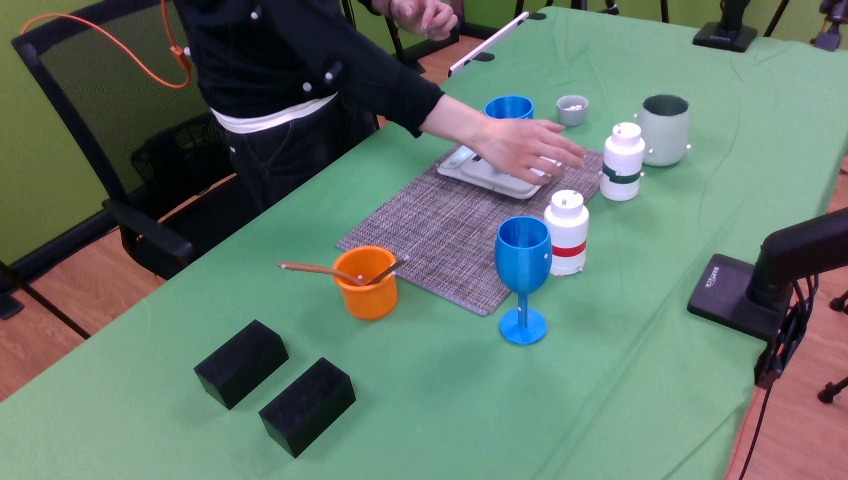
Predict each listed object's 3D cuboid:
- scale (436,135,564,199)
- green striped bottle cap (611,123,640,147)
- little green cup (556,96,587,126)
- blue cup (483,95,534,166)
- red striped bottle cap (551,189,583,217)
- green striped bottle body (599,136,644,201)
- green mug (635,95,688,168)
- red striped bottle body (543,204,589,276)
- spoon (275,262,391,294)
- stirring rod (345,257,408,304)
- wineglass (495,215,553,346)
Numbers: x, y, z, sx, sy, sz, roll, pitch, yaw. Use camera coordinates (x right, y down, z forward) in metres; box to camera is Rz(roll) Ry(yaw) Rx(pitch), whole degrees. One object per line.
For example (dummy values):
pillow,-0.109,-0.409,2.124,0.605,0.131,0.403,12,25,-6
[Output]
scale,0.137,-0.142,1.101,0.199,0.032,0.149,22,48,30
green striped bottle cap,0.322,-0.168,0.963,0.044,0.020,0.044,-3,41,3
little green cup,0.295,-0.258,1.214,0.061,0.039,0.061,-4,41,4
blue cup,0.150,-0.187,1.051,0.092,0.101,0.092,-7,41,6
red striped bottle cap,0.200,-0.052,0.843,0.044,0.018,0.044,-3,42,3
green striped bottle body,0.326,-0.128,0.997,0.063,0.120,0.063,-4,41,4
green mug,0.421,-0.201,1.081,0.092,0.105,0.125,5,42,15
red striped bottle body,0.206,-0.011,0.877,0.063,0.120,0.062,-4,41,4
spoon,-0.120,0.050,0.830,0.041,0.195,0.021,32,97,45
stirring rod,-0.067,0.057,0.814,0.014,0.175,0.006,-24,82,-38
wineglass,0.127,0.054,0.770,0.074,0.173,0.073,-4,40,4
